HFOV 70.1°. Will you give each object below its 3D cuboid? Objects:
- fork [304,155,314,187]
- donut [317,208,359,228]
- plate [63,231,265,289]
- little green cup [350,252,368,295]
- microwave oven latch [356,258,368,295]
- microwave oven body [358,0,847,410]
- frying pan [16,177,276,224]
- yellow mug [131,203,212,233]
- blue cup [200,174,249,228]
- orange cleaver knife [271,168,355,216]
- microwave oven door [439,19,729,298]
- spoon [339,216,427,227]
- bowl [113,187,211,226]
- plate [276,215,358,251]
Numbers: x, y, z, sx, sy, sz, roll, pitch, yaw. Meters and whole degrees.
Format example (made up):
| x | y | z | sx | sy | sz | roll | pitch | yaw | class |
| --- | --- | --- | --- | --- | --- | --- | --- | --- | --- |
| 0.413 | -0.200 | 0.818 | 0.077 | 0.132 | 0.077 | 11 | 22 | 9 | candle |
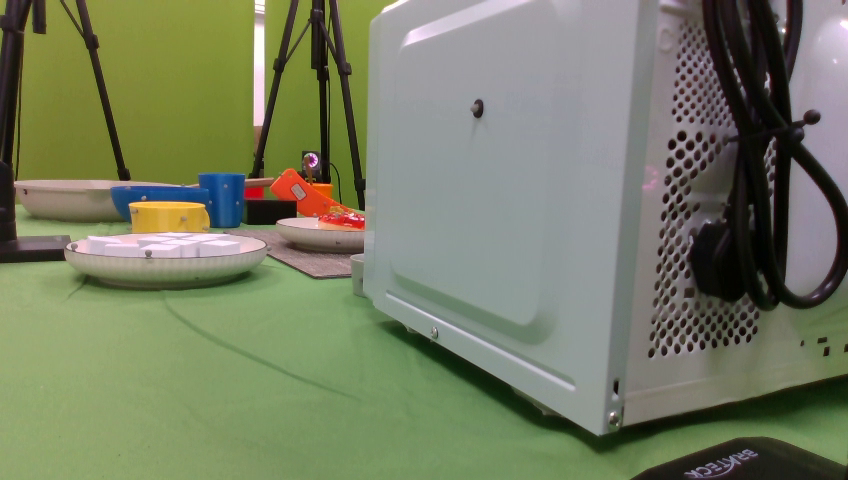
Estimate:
| x | y | z | sx | sy | sz | roll | pitch | yaw | class |
| --- | --- | --- | --- | --- | --- | --- | --- | --- | --- |
| -0.268 | -0.134 | 1.446 | 0.028 | 0.018 | 0.207 | 2 | -36 | -1 | fork |
| -0.118 | -0.024 | 0.954 | 0.099 | 0.048 | 0.099 | 6 | 7 | 0 | donut |
| -0.288 | 0.021 | 0.687 | 0.208 | 0.039 | 0.207 | 2 | 8 | 0 | plate |
| -0.047 | 0.035 | 0.632 | 0.061 | 0.038 | 0.061 | 4 | 6 | 0 | little green cup |
| -0.019 | 0.031 | 0.529 | 0.079 | 0.029 | 0.030 | -1 | 7 | -26 | microwave oven latch |
| 0.210 | -0.051 | 0.471 | 0.444 | 0.260 | 0.324 | -1 | 7 | -28 | microwave oven body |
| -0.554 | -0.097 | 1.266 | 0.490 | 0.102 | 0.305 | -10 | 13 | -24 | frying pan |
| -0.356 | -0.020 | 0.878 | 0.099 | 0.064 | 0.131 | 5 | 7 | 21 | yellow mug |
| -0.380 | -0.076 | 1.155 | 0.093 | 0.100 | 0.092 | 0 | 8 | 0 | blue cup |
| -0.236 | -0.084 | 1.333 | 0.212 | 0.077 | 0.012 | 31 | -9 | -32 | orange cleaver knife |
| 0.181 | -0.076 | 0.618 | 0.358 | 0.243 | 0.039 | -2 | 8 | -28 | microwave oven door |
| -0.087 | -0.041 | 1.268 | 0.193 | 0.021 | 0.041 | 3 | 19 | 14 | spoon |
| -0.436 | -0.046 | 1.013 | 0.151 | 0.077 | 0.151 | 2 | 7 | 0 | bowl |
| -0.126 | -0.012 | 0.950 | 0.209 | 0.038 | 0.209 | 2 | 7 | 0 | plate |
